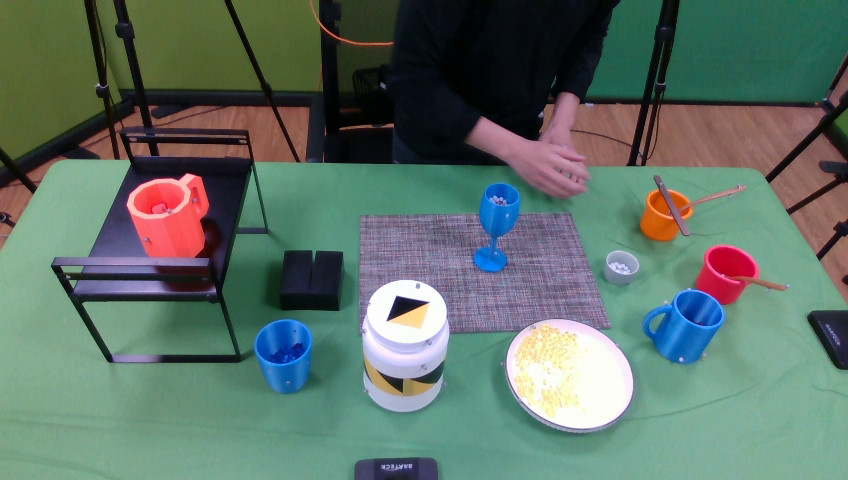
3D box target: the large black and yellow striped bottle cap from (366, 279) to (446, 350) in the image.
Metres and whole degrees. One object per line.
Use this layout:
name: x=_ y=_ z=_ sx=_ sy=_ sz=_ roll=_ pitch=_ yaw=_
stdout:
large black and yellow striped bottle cap: x=-0.025 y=0.104 z=0.864 sx=0.115 sy=0.019 sz=0.114 roll=3 pitch=48 yaw=-3

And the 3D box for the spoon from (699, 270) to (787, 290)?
spoon: x=0.567 y=0.070 z=1.087 sx=0.042 sy=0.021 sz=0.193 roll=-12 pitch=4 yaw=-13

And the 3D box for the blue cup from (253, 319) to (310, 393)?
blue cup: x=-0.217 y=0.187 z=0.943 sx=0.093 sy=0.101 sz=0.092 roll=4 pitch=45 yaw=-3

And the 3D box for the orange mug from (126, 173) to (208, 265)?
orange mug: x=-0.371 y=-0.040 z=0.902 sx=0.083 sy=0.101 sz=0.126 roll=18 pitch=52 yaw=13

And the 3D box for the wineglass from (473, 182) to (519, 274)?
wineglass: x=0.131 y=-0.022 z=1.117 sx=0.074 sy=0.173 sz=0.073 roll=2 pitch=46 yaw=-2

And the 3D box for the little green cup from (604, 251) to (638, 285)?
little green cup: x=0.375 y=0.055 z=1.162 sx=0.061 sy=0.039 sz=0.061 roll=2 pitch=45 yaw=-2

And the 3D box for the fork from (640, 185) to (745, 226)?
fork: x=0.534 y=-0.069 z=1.215 sx=0.207 sy=0.019 sz=0.028 roll=-26 pitch=27 yaw=33

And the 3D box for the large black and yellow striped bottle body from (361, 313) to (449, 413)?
large black and yellow striped bottle body: x=-0.031 y=0.163 z=0.924 sx=0.131 sy=0.185 sz=0.130 roll=2 pitch=46 yaw=-2

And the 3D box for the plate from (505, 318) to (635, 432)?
plate: x=0.235 y=0.221 z=0.991 sx=0.209 sy=0.038 sz=0.208 roll=2 pitch=45 yaw=-2

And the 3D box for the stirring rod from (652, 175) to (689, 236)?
stirring rod: x=0.491 y=-0.072 z=1.211 sx=0.014 sy=0.006 sz=0.175 roll=-1 pitch=47 yaw=-6

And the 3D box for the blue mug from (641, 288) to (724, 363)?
blue mug: x=0.432 y=0.144 z=1.033 sx=0.116 sy=0.106 sz=0.082 roll=8 pitch=46 yaw=5
